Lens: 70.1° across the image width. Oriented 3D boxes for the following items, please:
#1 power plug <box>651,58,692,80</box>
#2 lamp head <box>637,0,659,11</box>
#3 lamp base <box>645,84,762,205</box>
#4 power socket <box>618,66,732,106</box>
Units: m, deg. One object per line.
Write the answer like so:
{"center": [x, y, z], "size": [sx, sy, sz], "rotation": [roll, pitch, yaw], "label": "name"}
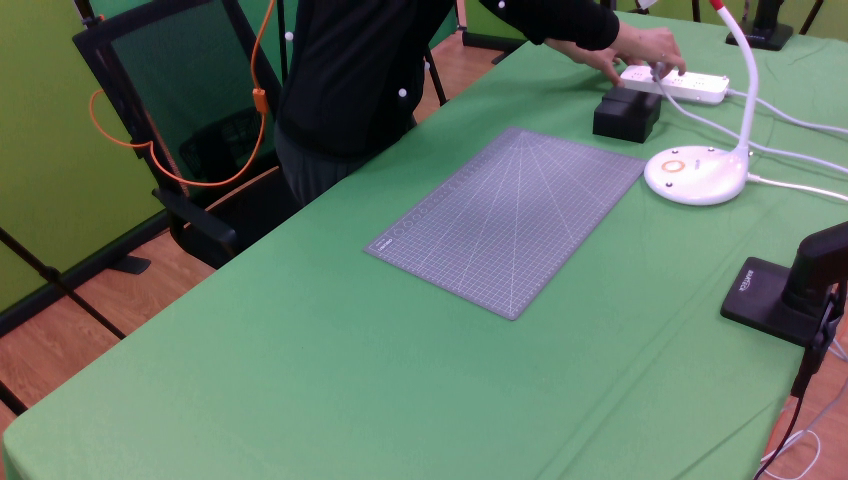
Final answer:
{"center": [0.505, -0.347, 1.242], "size": [0.072, 0.053, 0.035], "rotation": [10, 73, 7], "label": "power plug"}
{"center": [0.330, -0.391, 0.827], "size": [0.122, 0.113, 0.112], "rotation": [-21, 35, 25], "label": "lamp head"}
{"center": [0.461, -0.170, 0.975], "size": [0.179, 0.181, 0.160], "rotation": [2, 41, 11], "label": "lamp base"}
{"center": [0.518, -0.323, 1.260], "size": [0.225, 0.033, 0.072], "rotation": [20, 49, 30], "label": "power socket"}
